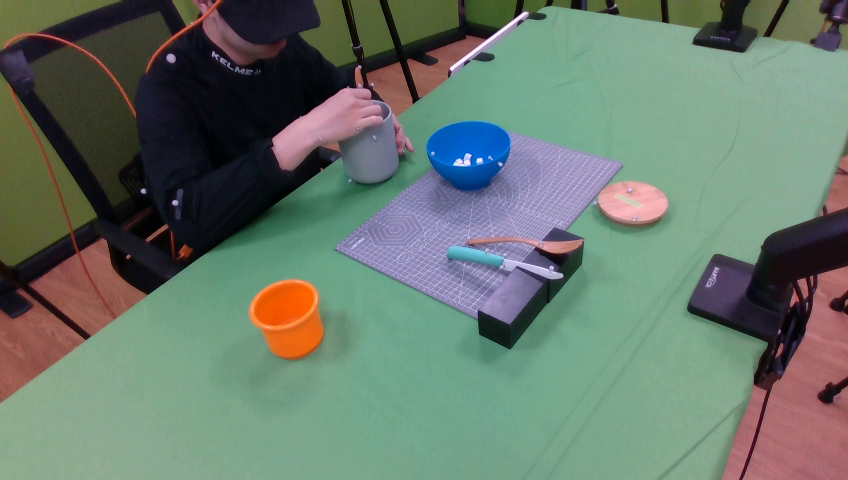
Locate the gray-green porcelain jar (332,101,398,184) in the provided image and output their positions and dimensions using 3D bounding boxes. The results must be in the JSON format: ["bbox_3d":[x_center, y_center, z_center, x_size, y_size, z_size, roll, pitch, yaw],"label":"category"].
[{"bbox_3d":[-0.105,-0.174,1.108,0.106,0.127,0.105,-4,40,4],"label":"gray-green porcelain jar"}]

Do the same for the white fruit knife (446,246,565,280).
[{"bbox_3d":[0.111,0.033,0.868,0.205,0.027,0.016,11,44,40],"label":"white fruit knife"}]

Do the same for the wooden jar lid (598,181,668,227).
[{"bbox_3d":[0.340,-0.058,0.988,0.108,0.021,0.108,-5,41,5],"label":"wooden jar lid"}]

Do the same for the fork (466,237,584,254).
[{"bbox_3d":[0.142,0.005,0.894,0.205,0.019,0.028,4,43,41],"label":"fork"}]

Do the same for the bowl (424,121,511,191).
[{"bbox_3d":[0.081,-0.141,1.074,0.151,0.077,0.150,-4,41,4],"label":"bowl"}]
